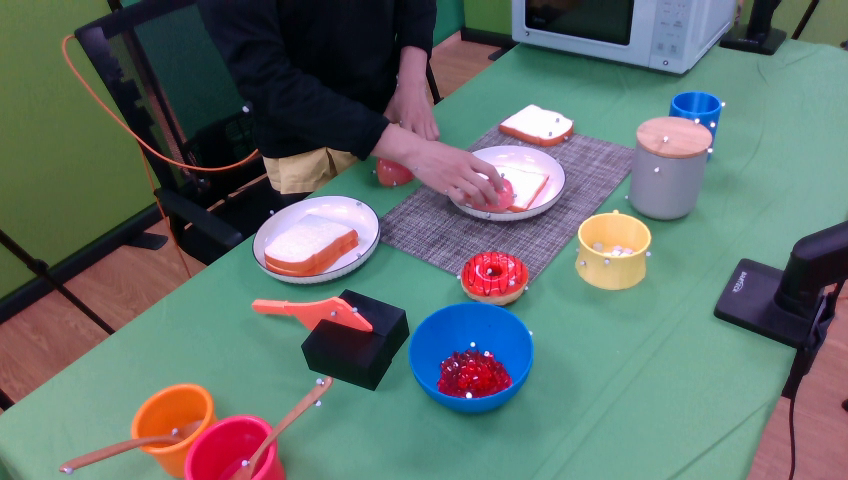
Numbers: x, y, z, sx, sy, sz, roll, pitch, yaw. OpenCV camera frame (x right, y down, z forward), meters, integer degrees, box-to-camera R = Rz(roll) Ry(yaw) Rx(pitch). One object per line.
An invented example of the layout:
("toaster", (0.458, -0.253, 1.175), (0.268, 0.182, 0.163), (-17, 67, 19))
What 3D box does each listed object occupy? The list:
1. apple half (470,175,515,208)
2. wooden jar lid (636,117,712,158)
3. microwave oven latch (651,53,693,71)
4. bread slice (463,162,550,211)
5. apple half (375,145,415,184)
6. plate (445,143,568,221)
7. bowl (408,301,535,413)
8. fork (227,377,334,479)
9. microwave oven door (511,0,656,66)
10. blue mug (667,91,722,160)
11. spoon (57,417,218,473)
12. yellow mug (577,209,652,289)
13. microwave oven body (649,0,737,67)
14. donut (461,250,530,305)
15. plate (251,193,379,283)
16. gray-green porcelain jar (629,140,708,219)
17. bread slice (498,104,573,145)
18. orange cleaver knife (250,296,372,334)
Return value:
("apple half", (0.114, -0.087, 1.004), (0.081, 0.033, 0.081), (-4, 43, 4))
("wooden jar lid", (0.377, -0.151, 0.917), (0.108, 0.021, 0.108), (-2, 41, 3))
("microwave oven latch", (0.532, -0.386, 1.301), (0.078, 0.029, 0.030), (27, 52, 34))
("bread slice", (0.136, -0.095, 1.044), (0.133, 0.018, 0.107), (15, 44, 23))
("apple half", (-0.055, -0.149, 1.128), (0.074, 0.053, 0.080), (-1, 42, 5))
("plate", (0.142, -0.096, 1.045), (0.207, 0.039, 0.206), (-4, 41, 4))
("bowl", (0.060, 0.156, 0.739), (0.151, 0.077, 0.150), (-4, 40, 4))
("fork", (-0.163, 0.216, 0.647), (0.207, 0.019, 0.028), (-49, 41, 16))
("microwave oven door", (0.351, -0.539, 1.349), (0.353, 0.245, 0.039), (24, 50, 31))
("blue mug", (0.474, -0.207, 1.079), (0.082, 0.106, 0.116), (4, 42, 13))
("spoon", (-0.304, 0.221, 0.661), (0.041, 0.195, 0.021), (19, 92, 27))
("yellow mug", (0.279, 0.004, 0.893), (0.099, 0.064, 0.130), (5, 42, 15))
("microwave oven body", (0.475, -0.602, 1.411), (0.438, 0.261, 0.327), (23, 50, 32))
("donut", (0.103, 0.053, 0.872), (0.099, 0.048, 0.098), (-4, 40, 4))
("plate", (-0.174, -0.001, 0.984), (0.209, 0.038, 0.208), (-4, 41, 4))
("gray-green porcelain jar", (0.383, -0.105, 0.958), (0.106, 0.127, 0.105), (-4, 41, 4))
("bread slice", (0.231, -0.231, 1.205), (0.105, 0.019, 0.130), (-36, 47, -29))
("orange cleaver knife", (-0.158, 0.103, 0.828), (0.210, 0.078, 0.012), (-4, 43, 39))
